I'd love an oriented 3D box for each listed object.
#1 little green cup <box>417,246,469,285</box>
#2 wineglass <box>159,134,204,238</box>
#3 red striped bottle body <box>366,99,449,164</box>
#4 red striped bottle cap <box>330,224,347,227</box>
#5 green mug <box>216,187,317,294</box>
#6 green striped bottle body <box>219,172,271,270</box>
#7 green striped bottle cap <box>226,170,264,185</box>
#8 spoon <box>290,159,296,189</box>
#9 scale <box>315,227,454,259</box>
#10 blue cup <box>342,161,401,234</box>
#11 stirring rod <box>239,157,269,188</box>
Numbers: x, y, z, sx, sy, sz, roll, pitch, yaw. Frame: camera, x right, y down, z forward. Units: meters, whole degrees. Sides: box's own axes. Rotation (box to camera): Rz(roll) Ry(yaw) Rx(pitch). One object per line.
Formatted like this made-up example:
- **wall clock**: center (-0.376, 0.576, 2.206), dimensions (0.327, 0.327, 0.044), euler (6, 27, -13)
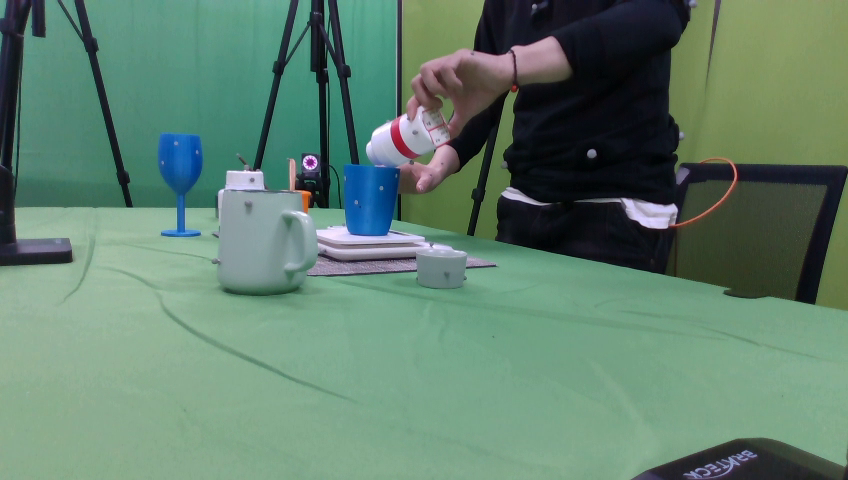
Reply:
- **little green cup**: center (0.021, 0.029, 0.701), dimensions (0.061, 0.038, 0.061), euler (1, 6, 0)
- **wineglass**: center (-0.415, -0.093, 1.040), dimensions (0.074, 0.172, 0.073), euler (2, 7, 0)
- **red striped bottle body**: center (-0.028, -0.147, 0.852), dimensions (0.119, 0.063, 0.063), euler (-19, -8, 39)
- **red striped bottle cap**: center (-0.151, -0.018, 1.092), dimensions (0.044, 0.017, 0.044), euler (-10, -3, 0)
- **green mug**: center (-0.157, 0.000, 0.629), dimensions (0.124, 0.105, 0.093), euler (7, 9, 37)
- **green striped bottle body**: center (-0.223, -0.025, 0.755), dimensions (0.063, 0.119, 0.063), euler (2, 7, 0)
- **green striped bottle cap**: center (-0.222, -0.076, 0.748), dimensions (0.044, 0.020, 0.044), euler (1, 7, 0)
- **spoon**: center (-0.273, -0.102, 1.252), dimensions (0.042, 0.193, 0.021), euler (7, -39, -17)
- **scale**: center (-0.066, 0.001, 0.906), dimensions (0.202, 0.031, 0.148), euler (-2, 8, -31)
- **blue cup**: center (-0.079, -0.061, 0.883), dimensions (0.093, 0.100, 0.092), euler (4, 5, 0)
- **stirring rod**: center (-0.309, -0.098, 1.209), dimensions (0.006, 0.177, 0.014), euler (-39, 29, -4)
